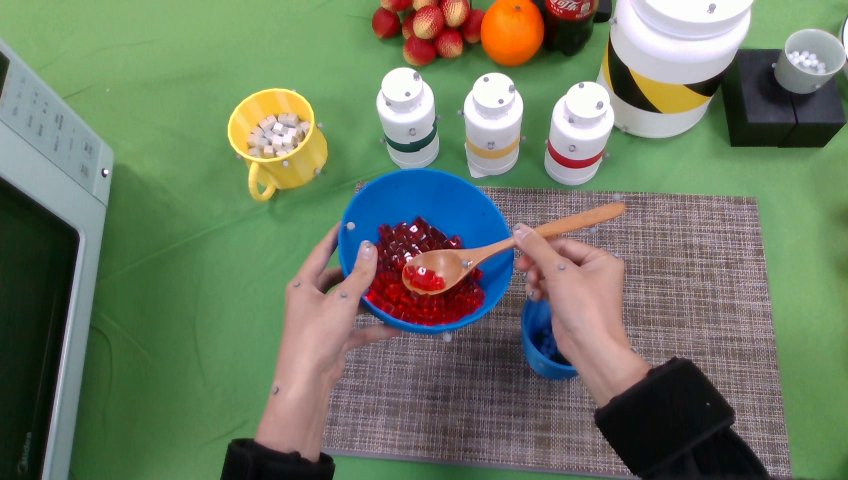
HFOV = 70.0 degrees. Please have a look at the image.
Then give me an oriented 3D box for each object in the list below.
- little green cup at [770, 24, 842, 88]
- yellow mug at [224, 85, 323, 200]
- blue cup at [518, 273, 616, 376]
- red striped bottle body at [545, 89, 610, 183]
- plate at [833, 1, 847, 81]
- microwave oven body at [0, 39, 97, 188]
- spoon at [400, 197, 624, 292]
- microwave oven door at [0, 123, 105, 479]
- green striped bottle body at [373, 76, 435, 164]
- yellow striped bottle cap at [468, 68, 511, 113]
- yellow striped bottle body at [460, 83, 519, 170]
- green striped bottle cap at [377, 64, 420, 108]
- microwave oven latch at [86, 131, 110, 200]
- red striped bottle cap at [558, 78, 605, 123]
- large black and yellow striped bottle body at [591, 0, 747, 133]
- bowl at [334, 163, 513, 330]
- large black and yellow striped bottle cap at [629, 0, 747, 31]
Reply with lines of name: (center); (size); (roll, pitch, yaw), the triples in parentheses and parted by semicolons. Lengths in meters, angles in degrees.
little green cup: (0.408, -0.196, 0.653); (0.061, 0.039, 0.061); (-1, 66, 3)
yellow mug: (-0.179, -0.108, 0.707); (0.100, 0.064, 0.130); (12, 69, 9)
blue cup: (0.129, 0.089, 0.574); (0.092, 0.101, 0.092); (-2, 66, 4)
red striped bottle body: (0.164, -0.118, 0.652); (0.063, 0.121, 0.062); (-4, 64, 8)
plate: (0.581, -0.217, 0.702); (0.209, 0.038, 0.207); (-2, 67, 4)
microwave oven body: (-0.532, 0.053, 0.559); (0.326, 0.262, 0.438); (-6, 67, 2)
spoon: (0.071, 0.001, 0.504); (0.193, 0.022, 0.041); (-21, 58, 15)
microwave oven door: (-0.384, 0.074, 0.532); (0.039, 0.246, 0.353); (-7, 67, 3)
green striped bottle body: (-0.021, -0.140, 0.677); (0.063, 0.120, 0.062); (-2, 66, 4)
yellow striped bottle cap: (0.067, -0.153, 0.618); (0.044, 0.019, 0.044); (-1, 69, 4)
yellow striped bottle body: (0.072, -0.132, 0.665); (0.063, 0.121, 0.062); (-2, 66, 5)
green striped bottle cap: (-0.027, -0.160, 0.629); (0.044, 0.020, 0.044); (-1, 66, 3)
microwave oven latch: (-0.391, -0.086, 0.711); (0.030, 0.030, 0.078); (-5, 67, 3)
red striped bottle cap: (0.157, -0.140, 0.604); (0.044, 0.018, 0.044); (0, 66, 1)
large black and yellow striped bottle body: (0.259, -0.216, 0.650); (0.131, 0.185, 0.130); (-2, 67, 5)
bowl: (-0.005, 0.016, 0.532); (0.152, 0.077, 0.150); (6, 63, -11)
large black and yellow striped bottle cap: (0.250, -0.248, 0.573); (0.115, 0.019, 0.114); (-2, 66, 5)
